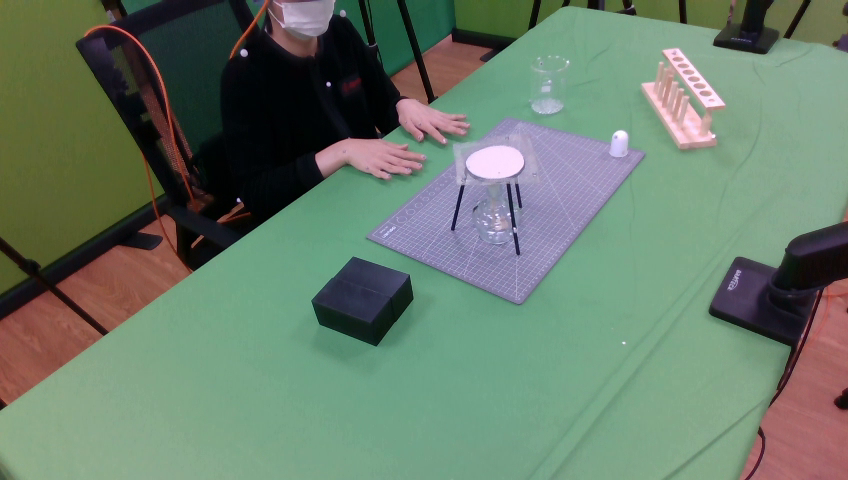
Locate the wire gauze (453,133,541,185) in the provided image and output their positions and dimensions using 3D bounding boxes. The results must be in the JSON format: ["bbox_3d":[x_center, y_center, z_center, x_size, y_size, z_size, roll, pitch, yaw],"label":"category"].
[{"bbox_3d":[0.105,-0.120,0.902,0.125,0.011,0.121,-5,41,6],"label":"wire gauze"}]

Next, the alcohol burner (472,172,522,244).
[{"bbox_3d":[0.112,-0.053,0.942,0.078,0.119,0.077,-6,40,6],"label":"alcohol burner"}]

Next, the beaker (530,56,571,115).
[{"bbox_3d":[0.259,-0.316,1.244,0.084,0.101,0.073,-12,41,-5],"label":"beaker"}]

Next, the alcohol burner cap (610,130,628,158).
[{"bbox_3d":[0.359,-0.177,1.106,0.034,0.048,0.033,-5,41,5],"label":"alcohol burner cap"}]

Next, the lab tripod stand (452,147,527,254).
[{"bbox_3d":[0.111,-0.066,0.943,0.148,0.132,0.147,-5,42,5],"label":"lab tripod stand"}]

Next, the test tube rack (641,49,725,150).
[{"bbox_3d":[0.495,-0.279,1.175,0.067,0.085,0.241,-5,41,3],"label":"test tube rack"}]
